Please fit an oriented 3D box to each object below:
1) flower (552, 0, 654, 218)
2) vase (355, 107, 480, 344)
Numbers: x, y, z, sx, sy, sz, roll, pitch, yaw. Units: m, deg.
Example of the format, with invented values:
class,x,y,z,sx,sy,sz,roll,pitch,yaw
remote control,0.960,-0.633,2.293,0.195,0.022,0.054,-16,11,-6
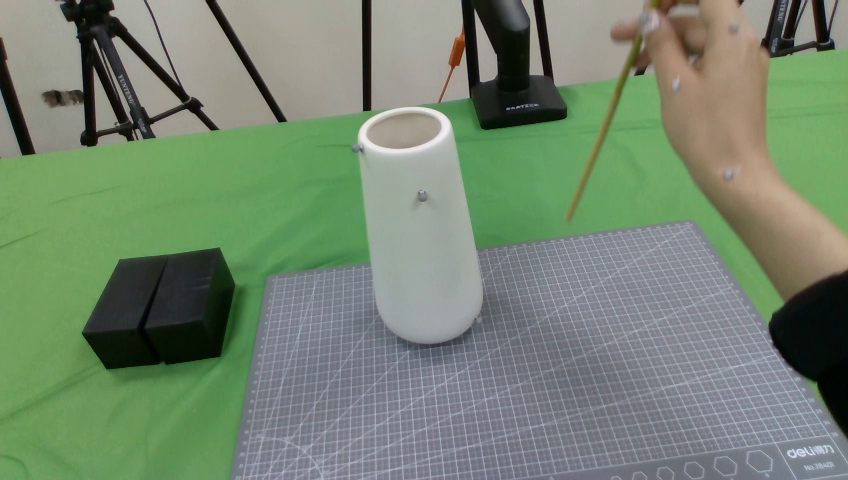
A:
class,x,y,z,sx,sy,sz,roll,pitch,yaw
flower,0.139,-0.130,0.406,0.044,0.364,0.038,-8,55,-13
vase,-0.006,-0.006,0.505,0.098,0.202,0.097,-5,39,5
